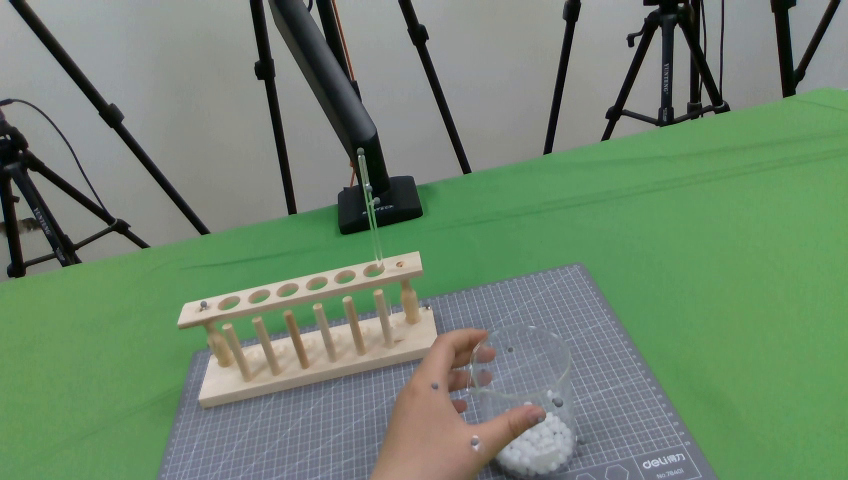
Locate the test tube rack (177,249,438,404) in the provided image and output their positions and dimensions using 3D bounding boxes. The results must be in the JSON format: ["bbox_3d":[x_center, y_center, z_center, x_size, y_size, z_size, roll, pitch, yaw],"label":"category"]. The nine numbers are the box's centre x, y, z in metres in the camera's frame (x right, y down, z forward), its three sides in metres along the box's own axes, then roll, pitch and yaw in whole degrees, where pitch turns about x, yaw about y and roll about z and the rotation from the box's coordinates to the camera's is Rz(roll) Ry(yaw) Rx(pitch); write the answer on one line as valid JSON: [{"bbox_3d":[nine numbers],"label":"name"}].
[{"bbox_3d":[-0.114,0.087,0.609,0.242,0.086,0.066,-13,33,0],"label":"test tube rack"}]

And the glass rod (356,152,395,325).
[{"bbox_3d":[-0.045,0.007,0.584,0.008,0.201,0.008,-6,33,4],"label":"glass rod"}]

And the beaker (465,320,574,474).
[{"bbox_3d":[0.076,0.126,0.469,0.084,0.101,0.073,-24,34,-16],"label":"beaker"}]
